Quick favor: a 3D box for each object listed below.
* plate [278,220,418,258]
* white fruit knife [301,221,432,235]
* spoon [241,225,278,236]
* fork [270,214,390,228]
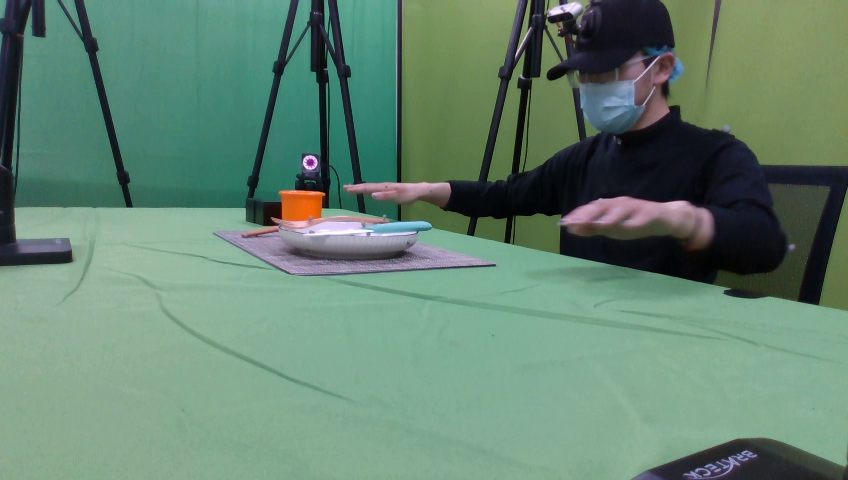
[{"bbox_3d":[-0.114,-0.002,0.914,0.209,0.038,0.209,2,7,0],"label":"plate"},{"bbox_3d":[-0.079,-0.016,0.858,0.208,0.016,0.027,-4,13,-38],"label":"white fruit knife"},{"bbox_3d":[-0.232,-0.021,1.082,0.195,0.021,0.041,-3,27,-37],"label":"spoon"},{"bbox_3d":[-0.143,-0.031,0.963,0.208,0.018,0.028,-4,19,-35],"label":"fork"}]
